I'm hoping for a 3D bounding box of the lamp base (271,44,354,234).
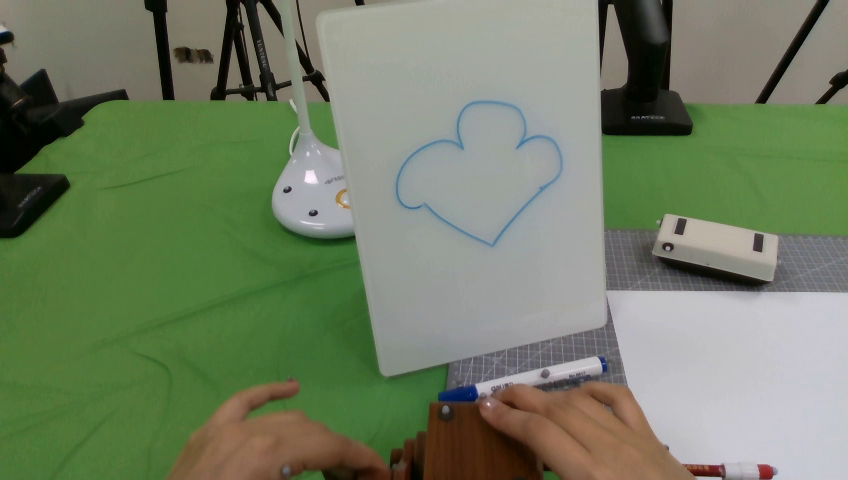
[{"bbox_3d":[-0.118,-0.124,0.700,0.161,0.182,0.177,-31,44,-29],"label":"lamp base"}]

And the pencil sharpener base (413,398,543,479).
[{"bbox_3d":[0.035,0.158,0.398,0.076,0.108,0.061,0,40,5],"label":"pencil sharpener base"}]

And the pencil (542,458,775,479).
[{"bbox_3d":[0.114,0.139,0.373,0.194,0.012,0.012,0,39,4],"label":"pencil"}]

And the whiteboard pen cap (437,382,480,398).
[{"bbox_3d":[0.029,0.128,0.498,0.033,0.018,0.018,-12,39,-8],"label":"whiteboard pen cap"}]

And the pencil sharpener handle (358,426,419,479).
[{"bbox_3d":[-0.019,0.134,0.368,0.030,0.068,0.036,0,81,5],"label":"pencil sharpener handle"}]

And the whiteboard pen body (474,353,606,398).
[{"bbox_3d":[0.086,0.116,0.507,0.141,0.017,0.017,-11,39,-8],"label":"whiteboard pen body"}]

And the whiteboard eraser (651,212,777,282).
[{"bbox_3d":[0.293,0.007,0.614,0.112,0.042,0.055,15,44,21],"label":"whiteboard eraser"}]

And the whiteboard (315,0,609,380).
[{"bbox_3d":[0.035,-0.061,0.558,0.217,0.307,0.142,-11,20,-8],"label":"whiteboard"}]
